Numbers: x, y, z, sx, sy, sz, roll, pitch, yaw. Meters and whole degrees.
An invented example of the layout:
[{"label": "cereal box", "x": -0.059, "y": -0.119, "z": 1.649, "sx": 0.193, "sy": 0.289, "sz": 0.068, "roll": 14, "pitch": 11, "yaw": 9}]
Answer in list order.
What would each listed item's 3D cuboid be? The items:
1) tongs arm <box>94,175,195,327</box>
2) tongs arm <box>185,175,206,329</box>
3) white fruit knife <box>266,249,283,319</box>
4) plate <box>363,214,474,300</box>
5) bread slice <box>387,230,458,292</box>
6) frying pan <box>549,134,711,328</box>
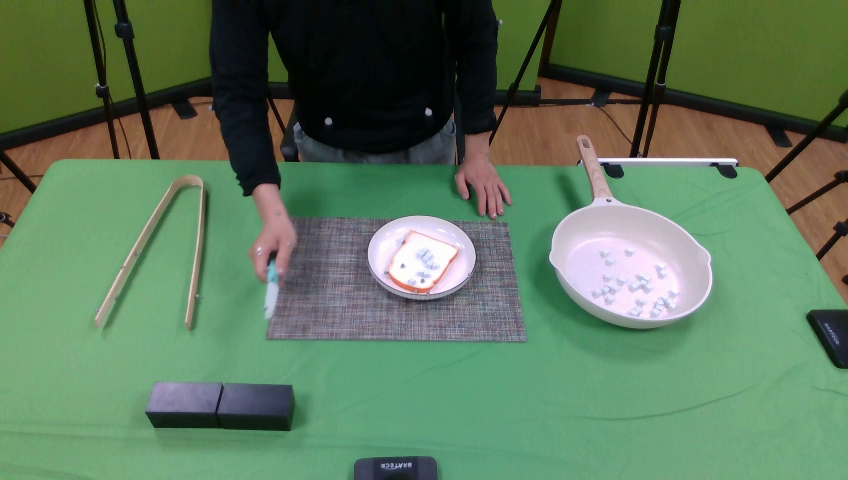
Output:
[{"label": "tongs arm", "x": -0.515, "y": 0.006, "z": 1.142, "sx": 0.051, "sy": 0.026, "sz": 0.382, "roll": 4, "pitch": 45, "yaw": -1}, {"label": "tongs arm", "x": -0.436, "y": 0.008, "z": 1.150, "sx": 0.028, "sy": 0.028, "sz": 0.385, "roll": -8, "pitch": 47, "yaw": -7}, {"label": "white fruit knife", "x": -0.246, "y": 0.067, "z": 0.991, "sx": 0.016, "sy": 0.027, "sz": 0.206, "roll": -33, "pitch": 28, "yaw": 8}, {"label": "plate", "x": -0.010, "y": 0.036, "z": 1.146, "sx": 0.208, "sy": 0.039, "sz": 0.206, "roll": 3, "pitch": 46, "yaw": -2}, {"label": "bread slice", "x": -0.007, "y": 0.043, "z": 1.142, "sx": 0.107, "sy": 0.018, "sz": 0.134, "roll": 18, "pitch": 46, "yaw": 14}, {"label": "frying pan", "x": 0.372, "y": -0.035, "z": 1.203, "sx": 0.307, "sy": 0.103, "sz": 0.484, "roll": -1, "pitch": 55, "yaw": -6}]
